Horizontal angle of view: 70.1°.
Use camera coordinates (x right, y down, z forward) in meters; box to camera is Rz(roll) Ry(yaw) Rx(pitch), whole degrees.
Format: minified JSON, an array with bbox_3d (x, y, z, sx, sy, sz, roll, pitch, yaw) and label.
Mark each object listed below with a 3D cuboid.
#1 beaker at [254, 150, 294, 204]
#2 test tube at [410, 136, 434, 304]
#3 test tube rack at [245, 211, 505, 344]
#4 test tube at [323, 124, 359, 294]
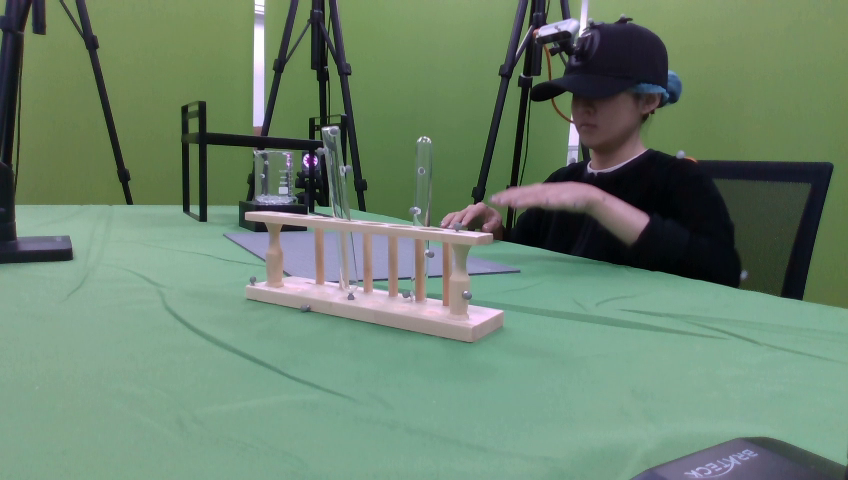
[{"bbox_3d":[-0.289,-0.120,1.151,0.073,0.100,0.084,8,9,33],"label":"beaker"},{"bbox_3d":[-0.001,-0.016,0.537,0.017,0.150,0.017,2,7,0],"label":"test tube"},{"bbox_3d":[-0.049,0.024,0.547,0.241,0.085,0.067,7,8,29],"label":"test tube rack"},{"bbox_3d":[-0.073,-0.026,0.533,0.017,0.150,0.017,-5,9,1],"label":"test tube"}]
